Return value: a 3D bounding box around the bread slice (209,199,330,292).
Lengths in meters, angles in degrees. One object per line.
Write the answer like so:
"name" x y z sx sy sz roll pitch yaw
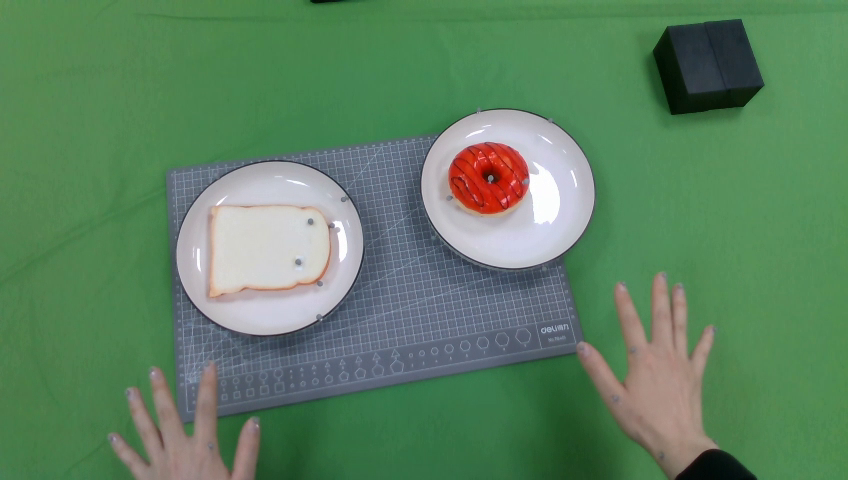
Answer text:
"bread slice" -0.176 0.001 0.691 0.134 0.018 0.106 -6 73 -5

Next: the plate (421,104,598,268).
"plate" 0.100 -0.063 0.723 0.208 0.039 0.206 1 72 -2

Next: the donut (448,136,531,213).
"donut" 0.077 -0.078 0.714 0.099 0.048 0.098 0 68 0

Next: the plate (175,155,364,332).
"plate" -0.172 0.005 0.689 0.209 0.038 0.208 1 72 -3
